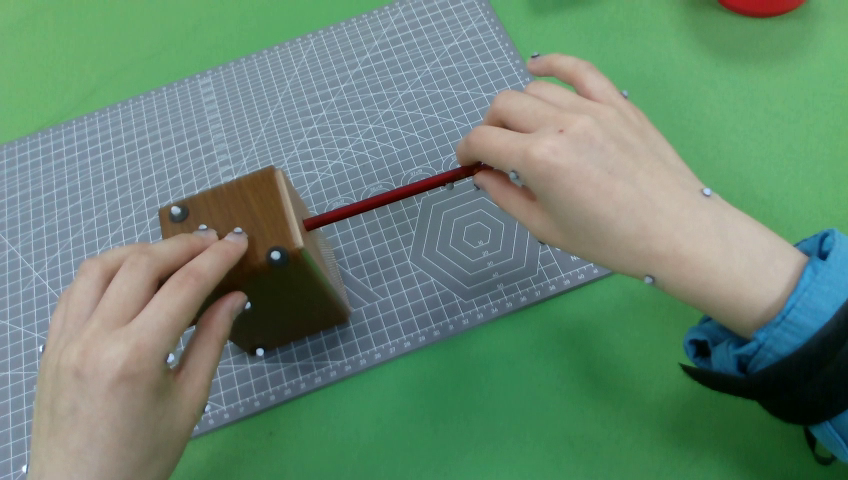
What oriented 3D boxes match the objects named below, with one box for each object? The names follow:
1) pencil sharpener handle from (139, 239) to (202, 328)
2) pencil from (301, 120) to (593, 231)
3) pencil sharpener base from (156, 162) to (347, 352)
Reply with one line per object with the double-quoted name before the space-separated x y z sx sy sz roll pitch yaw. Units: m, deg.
"pencil sharpener handle" -0.148 0.030 0.347 0.030 0.068 0.035 -21 56 -2
"pencil" 0.002 -0.032 0.339 0.194 0.012 0.012 -19 62 -1
"pencil sharpener base" -0.099 0.016 0.361 0.077 0.108 0.061 -21 62 -2
